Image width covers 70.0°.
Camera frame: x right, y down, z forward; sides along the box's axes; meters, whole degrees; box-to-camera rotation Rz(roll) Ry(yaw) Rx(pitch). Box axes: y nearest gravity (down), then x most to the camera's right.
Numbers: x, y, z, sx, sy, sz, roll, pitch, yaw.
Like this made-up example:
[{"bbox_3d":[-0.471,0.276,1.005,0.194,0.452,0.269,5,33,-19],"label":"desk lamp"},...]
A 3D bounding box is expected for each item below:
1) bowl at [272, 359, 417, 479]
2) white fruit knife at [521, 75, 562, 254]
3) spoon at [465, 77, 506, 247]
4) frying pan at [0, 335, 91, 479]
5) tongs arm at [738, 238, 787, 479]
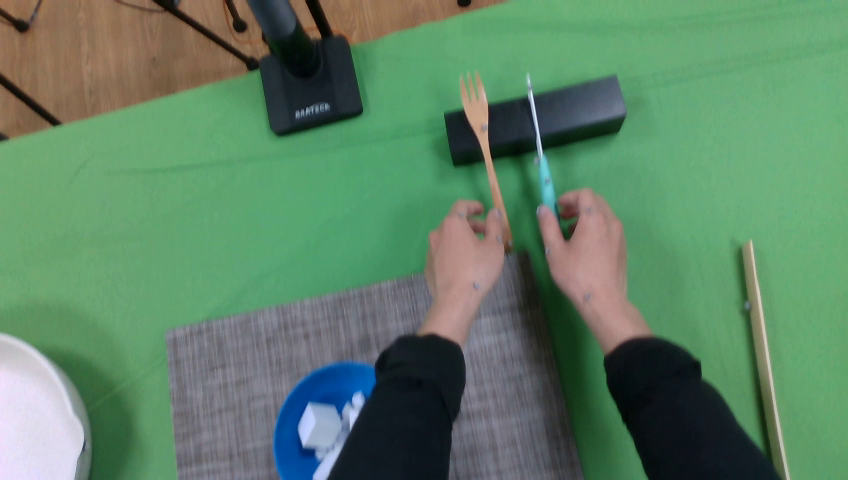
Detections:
[{"bbox_3d":[-0.076,0.205,0.647,0.151,0.077,0.150,-2,77,7],"label":"bowl"},{"bbox_3d":[0.131,-0.085,0.690,0.016,0.027,0.207,-11,90,1],"label":"white fruit knife"},{"bbox_3d":[0.074,-0.087,0.692,0.041,0.022,0.194,-4,96,22],"label":"spoon"},{"bbox_3d":[-0.497,0.348,0.657,0.307,0.103,0.484,-14,67,5],"label":"frying pan"},{"bbox_3d":[0.367,0.186,0.625,0.028,0.028,0.385,-5,77,4],"label":"tongs arm"}]
